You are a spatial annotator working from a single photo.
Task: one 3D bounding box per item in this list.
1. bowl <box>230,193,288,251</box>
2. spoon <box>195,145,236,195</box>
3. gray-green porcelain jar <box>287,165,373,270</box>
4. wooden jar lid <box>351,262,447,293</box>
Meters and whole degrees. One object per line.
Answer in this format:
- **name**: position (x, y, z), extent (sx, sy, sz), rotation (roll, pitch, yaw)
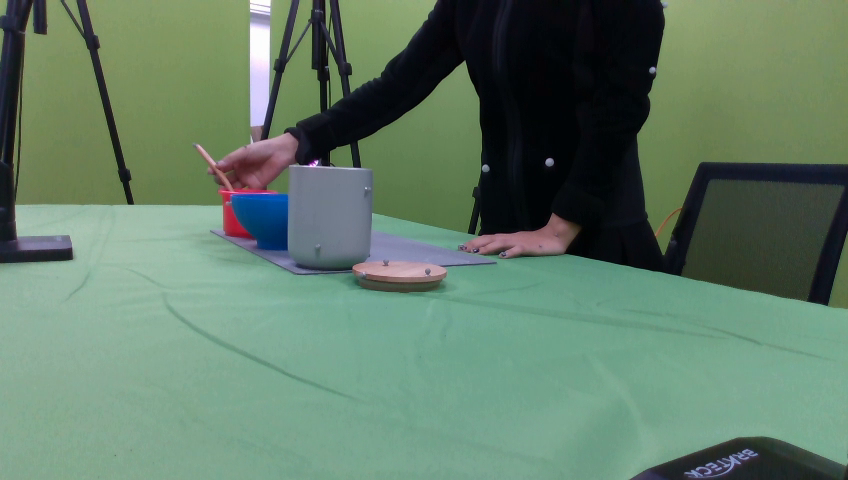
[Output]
- **bowl**: position (-0.214, -0.028, 0.912), extent (0.151, 0.077, 0.151), rotation (2, 8, 0)
- **spoon**: position (-0.337, -0.091, 1.039), extent (0.021, 0.193, 0.042), rotation (-38, -11, 19)
- **gray-green porcelain jar**: position (-0.119, -0.029, 0.767), extent (0.106, 0.126, 0.106), rotation (2, 7, 0)
- **wooden jar lid**: position (-0.028, 0.042, 0.686), extent (0.108, 0.020, 0.108), rotation (3, 8, 0)
